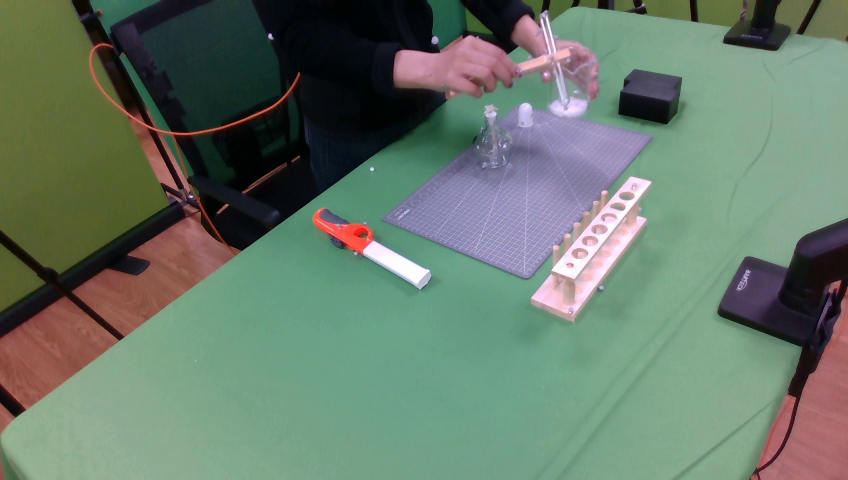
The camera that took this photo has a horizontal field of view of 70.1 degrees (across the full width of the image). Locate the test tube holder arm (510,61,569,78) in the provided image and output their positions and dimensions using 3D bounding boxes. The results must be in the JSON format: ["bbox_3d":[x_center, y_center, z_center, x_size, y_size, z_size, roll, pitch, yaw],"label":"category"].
[{"bbox_3d":[0.166,-0.250,0.875,0.088,0.010,0.015,-14,72,-7],"label":"test tube holder arm"}]

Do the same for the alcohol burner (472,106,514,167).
[{"bbox_3d":[0.126,-0.194,1.111,0.078,0.119,0.077,-5,42,5],"label":"alcohol burner"}]

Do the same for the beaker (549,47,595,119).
[{"bbox_3d":[0.246,-0.260,1.016,0.074,0.101,0.083,-2,43,8],"label":"beaker"}]

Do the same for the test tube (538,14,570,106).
[{"bbox_3d":[0.188,-0.260,0.873,0.017,0.017,0.149,-10,74,0],"label":"test tube"}]

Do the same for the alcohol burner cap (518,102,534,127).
[{"bbox_3d":[0.205,-0.255,1.223,0.034,0.048,0.033,-6,41,6],"label":"alcohol burner cap"}]

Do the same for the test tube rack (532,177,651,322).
[{"bbox_3d":[0.248,0.002,0.883,0.066,0.085,0.243,22,49,32],"label":"test tube rack"}]

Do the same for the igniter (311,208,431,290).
[{"bbox_3d":[-0.096,0.008,0.985,0.274,0.025,0.057,29,63,36],"label":"igniter"}]

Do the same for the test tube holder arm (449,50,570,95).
[{"bbox_3d":[0.122,-0.240,0.868,0.178,0.013,0.015,-16,72,0],"label":"test tube holder arm"}]
